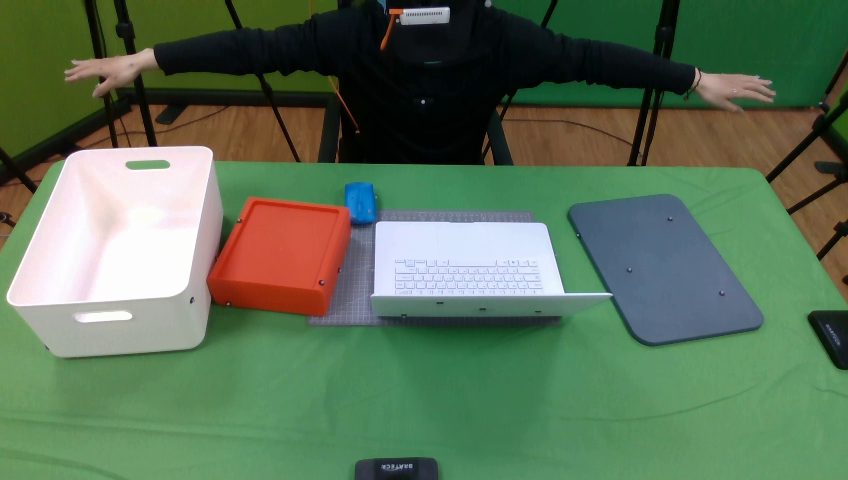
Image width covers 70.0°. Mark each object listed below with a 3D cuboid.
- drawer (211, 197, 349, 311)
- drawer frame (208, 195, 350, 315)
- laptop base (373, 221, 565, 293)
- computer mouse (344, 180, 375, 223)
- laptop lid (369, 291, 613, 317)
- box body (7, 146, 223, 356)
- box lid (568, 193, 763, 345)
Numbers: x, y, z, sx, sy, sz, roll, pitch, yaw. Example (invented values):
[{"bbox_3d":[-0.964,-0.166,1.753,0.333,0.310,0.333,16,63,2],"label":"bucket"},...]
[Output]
[{"bbox_3d":[-0.255,0.022,1.114,0.194,0.073,0.210,7,47,3],"label":"drawer"},{"bbox_3d":[-0.255,0.023,1.112,0.202,0.083,0.212,6,47,3],"label":"drawer frame"},{"bbox_3d":[0.080,0.049,1.159,0.355,0.023,0.234,0,43,-4],"label":"laptop base"},{"bbox_3d":[-0.134,-0.083,1.252,0.063,0.041,0.116,0,47,-7],"label":"computer mouse"},{"bbox_3d":[0.092,0.104,0.965,0.357,0.242,0.013,0,76,-5],"label":"laptop lid"},{"bbox_3d":[-0.499,0.013,1.051,0.254,0.161,0.361,-3,47,-7],"label":"box body"},{"bbox_3d":[0.465,0.040,1.203,0.264,0.015,0.369,-7,47,-11],"label":"box lid"}]
